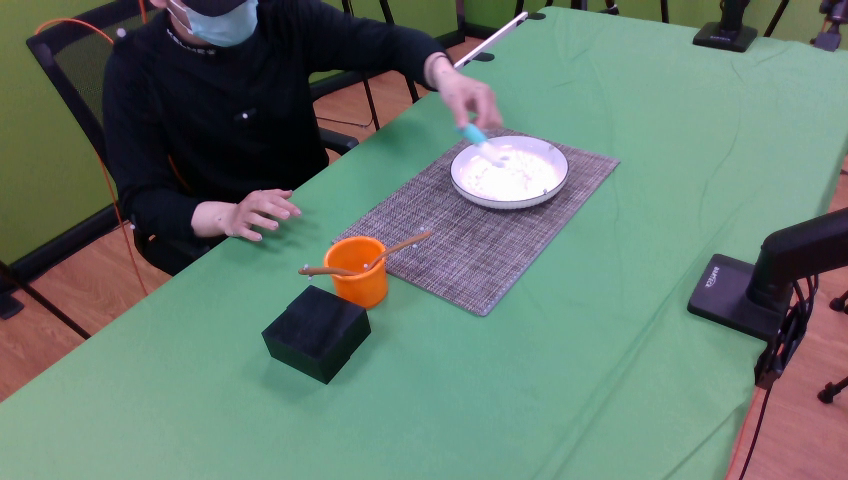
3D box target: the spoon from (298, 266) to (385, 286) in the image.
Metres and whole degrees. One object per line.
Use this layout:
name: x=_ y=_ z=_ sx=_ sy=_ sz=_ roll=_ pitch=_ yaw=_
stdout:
spoon: x=-0.111 y=0.047 z=0.826 sx=0.041 sy=0.195 sz=0.021 roll=-25 pitch=71 yaw=23

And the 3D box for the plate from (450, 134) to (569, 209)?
plate: x=0.150 y=-0.117 z=1.066 sx=0.209 sy=0.038 sz=0.208 roll=-4 pitch=41 yaw=4

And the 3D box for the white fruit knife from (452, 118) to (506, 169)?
white fruit knife: x=0.081 y=-0.144 z=0.893 sx=0.027 sy=0.016 sz=0.206 roll=-48 pitch=30 yaw=11

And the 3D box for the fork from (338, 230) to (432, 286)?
fork: x=-0.058 y=0.028 z=0.846 sx=0.018 sy=0.206 sz=0.028 roll=53 pitch=43 yaw=-4
